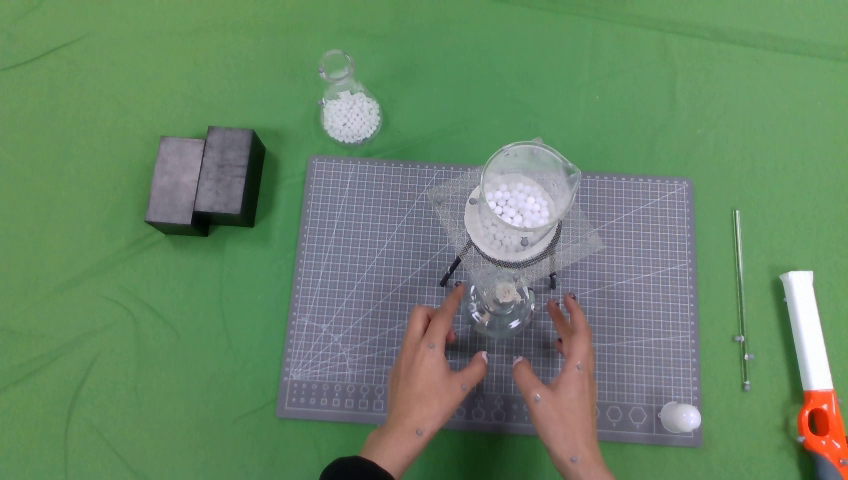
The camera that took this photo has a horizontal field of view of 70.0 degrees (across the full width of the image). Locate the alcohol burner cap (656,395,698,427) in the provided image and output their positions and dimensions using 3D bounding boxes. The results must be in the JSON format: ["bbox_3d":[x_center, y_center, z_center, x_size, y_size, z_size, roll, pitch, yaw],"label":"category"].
[{"bbox_3d":[0.264,0.177,0.625,0.034,0.048,0.033,0,75,1],"label":"alcohol burner cap"}]

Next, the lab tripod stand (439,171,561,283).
[{"bbox_3d":[0.080,-0.003,0.622,0.148,0.132,0.147,0,78,1],"label":"lab tripod stand"}]

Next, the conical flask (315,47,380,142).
[{"bbox_3d":[-0.091,-0.165,0.671,0.075,0.122,0.075,0,76,1],"label":"conical flask"}]

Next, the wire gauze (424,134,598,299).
[{"bbox_3d":[0.080,-0.023,0.560,0.125,0.011,0.121,-25,81,-7],"label":"wire gauze"}]

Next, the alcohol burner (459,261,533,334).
[{"bbox_3d":[0.075,0.056,0.618,0.078,0.119,0.077,0,75,-1],"label":"alcohol burner"}]

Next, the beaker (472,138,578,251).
[{"bbox_3d":[0.080,-0.034,0.513,0.084,0.100,0.073,-17,78,-4],"label":"beaker"}]

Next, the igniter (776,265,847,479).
[{"bbox_3d":[0.413,0.163,0.638,0.057,0.025,0.275,0,76,-10],"label":"igniter"}]

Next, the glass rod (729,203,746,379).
[{"bbox_3d":[0.350,0.054,0.675,0.008,0.008,0.198,3,76,1],"label":"glass rod"}]
